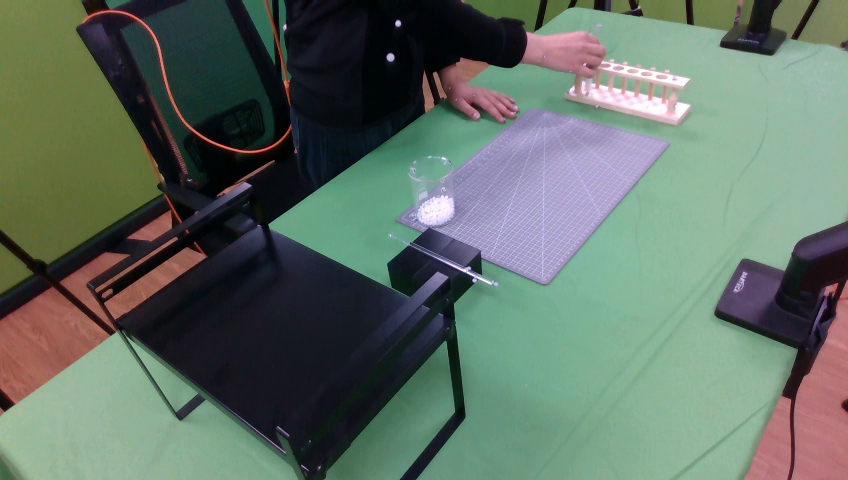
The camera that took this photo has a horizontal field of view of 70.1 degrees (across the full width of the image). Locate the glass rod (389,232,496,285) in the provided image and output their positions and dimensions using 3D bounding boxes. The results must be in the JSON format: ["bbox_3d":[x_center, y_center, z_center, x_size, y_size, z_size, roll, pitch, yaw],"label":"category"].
[{"bbox_3d":[0.022,0.025,0.878,0.198,0.008,0.008,25,50,33],"label":"glass rod"}]

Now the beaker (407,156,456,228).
[{"bbox_3d":[0.017,-0.079,1.002,0.073,0.101,0.084,25,50,33],"label":"beaker"}]

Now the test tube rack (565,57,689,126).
[{"bbox_3d":[0.412,-0.311,1.231,0.240,0.085,0.067,23,49,32],"label":"test tube rack"}]

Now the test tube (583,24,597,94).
[{"bbox_3d":[0.336,-0.364,1.227,0.017,0.151,0.017,-4,45,5],"label":"test tube"}]
